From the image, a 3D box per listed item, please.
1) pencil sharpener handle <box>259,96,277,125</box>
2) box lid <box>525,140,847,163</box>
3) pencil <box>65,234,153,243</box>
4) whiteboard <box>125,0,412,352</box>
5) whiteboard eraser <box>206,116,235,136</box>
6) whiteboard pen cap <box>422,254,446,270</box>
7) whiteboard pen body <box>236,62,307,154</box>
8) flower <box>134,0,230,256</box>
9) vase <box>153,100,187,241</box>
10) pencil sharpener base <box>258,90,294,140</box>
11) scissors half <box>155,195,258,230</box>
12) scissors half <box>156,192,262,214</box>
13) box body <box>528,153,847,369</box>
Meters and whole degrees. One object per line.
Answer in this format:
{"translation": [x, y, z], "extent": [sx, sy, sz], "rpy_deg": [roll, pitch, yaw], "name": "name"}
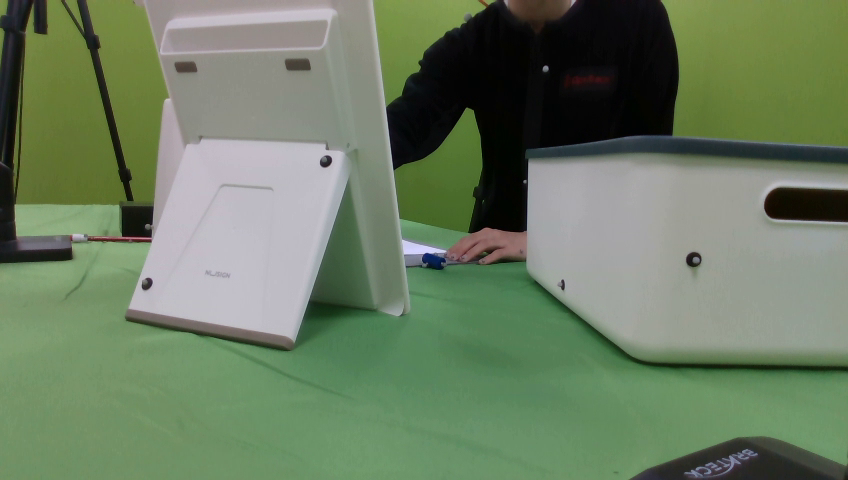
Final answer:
{"translation": [-0.373, -0.304, 1.425], "extent": [0.036, 0.067, 0.030], "rpy_deg": [13, -1, -37], "name": "pencil sharpener handle"}
{"translation": [0.261, -0.078, 0.580], "extent": [0.264, 0.015, 0.371], "rpy_deg": [2, 7, -4], "name": "box lid"}
{"translation": [-0.429, 0.000, 0.910], "extent": [0.195, 0.012, 0.012], "rpy_deg": [2, 7, -19], "name": "pencil"}
{"translation": [-0.151, -0.049, 0.471], "extent": [0.216, 0.305, 0.144], "rpy_deg": [6, 27, 24], "name": "whiteboard"}
{"translation": [-0.449, -0.251, 1.335], "extent": [0.056, 0.042, 0.112], "rpy_deg": [1, 7, -22], "name": "whiteboard eraser"}
{"translation": [0.013, 0.029, 0.806], "extent": [0.018, 0.018, 0.033], "rpy_deg": [-4, 14, -41], "name": "whiteboard pen cap"}
{"translation": [-0.148, -0.130, 0.590], "extent": [0.017, 0.017, 0.141], "rpy_deg": [5, 49, 20], "name": "whiteboard pen body"}
{"translation": [-0.282, -0.146, 0.712], "extent": [0.038, 0.362, 0.044], "rpy_deg": [-23, 23, -31], "name": "flower"}
{"translation": [-0.278, -0.066, 0.736], "extent": [0.098, 0.200, 0.098], "rpy_deg": [2, 9, 0], "name": "vase"}
{"translation": [-0.341, -0.285, 1.388], "extent": [0.062, 0.107, 0.076], "rpy_deg": [-3, 9, -36], "name": "pencil sharpener base"}
{"translation": [-0.378, -0.051, 1.058], "extent": [0.176, 0.040, 0.012], "rpy_deg": [20, 22, -31], "name": "scissors half"}
{"translation": [-0.371, -0.068, 1.051], "extent": [0.176, 0.040, 0.013], "rpy_deg": [2, 25, -24], "name": "scissors half"}
{"translation": [0.258, -0.005, 0.591], "extent": [0.254, 0.160, 0.363], "rpy_deg": [2, 7, -4], "name": "box body"}
